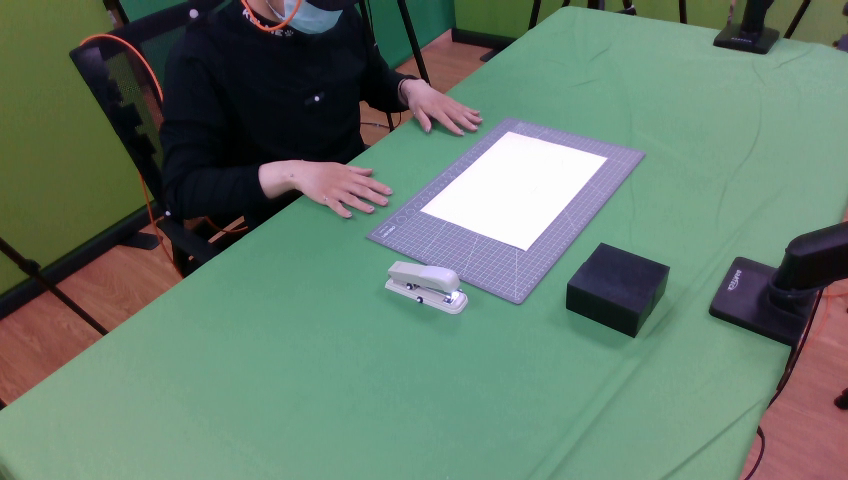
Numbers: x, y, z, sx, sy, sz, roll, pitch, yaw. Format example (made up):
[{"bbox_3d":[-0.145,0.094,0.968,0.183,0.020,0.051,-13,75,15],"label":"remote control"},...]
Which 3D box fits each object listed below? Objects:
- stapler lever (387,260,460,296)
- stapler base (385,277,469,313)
[{"bbox_3d":[-0.002,0.050,0.873,0.117,0.040,0.027,17,44,28],"label":"stapler lever"},{"bbox_3d":[0.003,0.069,0.889,0.129,0.024,0.041,17,43,28],"label":"stapler base"}]
